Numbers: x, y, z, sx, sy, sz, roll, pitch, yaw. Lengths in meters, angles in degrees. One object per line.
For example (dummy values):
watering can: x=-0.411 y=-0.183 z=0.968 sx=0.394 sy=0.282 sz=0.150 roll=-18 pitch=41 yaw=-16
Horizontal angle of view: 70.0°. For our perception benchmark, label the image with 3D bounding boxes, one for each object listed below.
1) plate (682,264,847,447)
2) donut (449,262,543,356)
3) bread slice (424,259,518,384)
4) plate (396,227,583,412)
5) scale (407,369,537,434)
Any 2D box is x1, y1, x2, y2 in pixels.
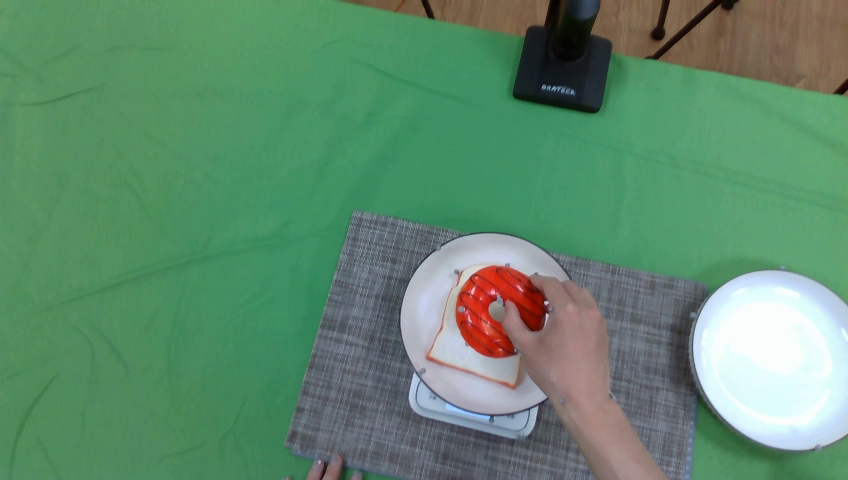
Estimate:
plate: x=0.403 y=0.132 z=0.704 sx=0.207 sy=0.039 sz=0.206 roll=0 pitch=74 yaw=1
donut: x=0.075 y=0.072 z=0.635 sx=0.099 sy=0.048 sz=0.098 roll=1 pitch=80 yaw=-4
bread slice: x=0.068 y=0.086 z=0.693 sx=0.105 sy=0.019 sz=0.131 roll=16 pitch=76 yaw=4
plate: x=0.073 y=0.088 z=0.690 sx=0.209 sy=0.038 sz=0.208 roll=0 pitch=74 yaw=1
scale: x=0.071 y=0.115 z=0.716 sx=0.148 sy=0.032 sz=0.200 roll=12 pitch=75 yaw=5
